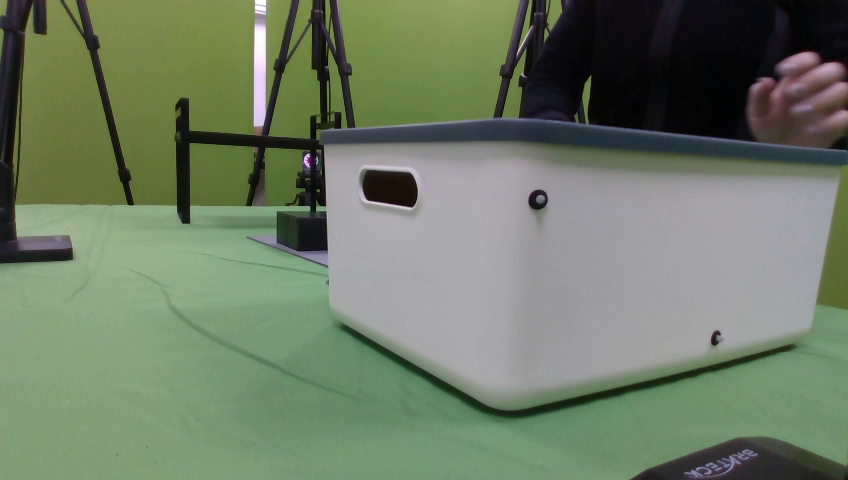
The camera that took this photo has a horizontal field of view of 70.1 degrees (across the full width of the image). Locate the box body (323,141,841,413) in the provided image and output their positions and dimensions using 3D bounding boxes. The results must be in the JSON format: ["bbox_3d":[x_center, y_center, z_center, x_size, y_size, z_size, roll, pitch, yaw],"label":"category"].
[{"bbox_3d":[0.123,0.001,0.499,0.366,0.160,0.253,-2,9,-33],"label":"box body"}]

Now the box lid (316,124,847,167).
[{"bbox_3d":[0.127,-0.072,0.491,0.373,0.015,0.262,-2,9,-33],"label":"box lid"}]

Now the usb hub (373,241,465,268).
[{"bbox_3d":[-0.005,0.018,0.826,0.126,0.025,0.049,-3,9,-39],"label":"usb hub"}]
